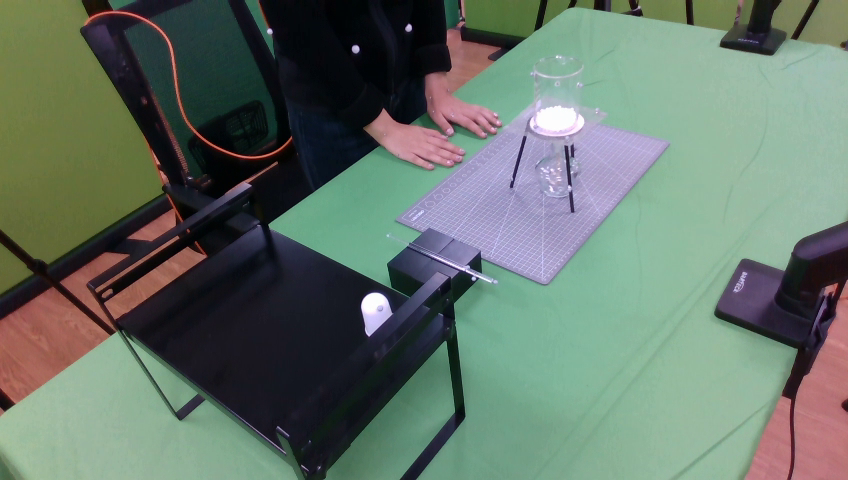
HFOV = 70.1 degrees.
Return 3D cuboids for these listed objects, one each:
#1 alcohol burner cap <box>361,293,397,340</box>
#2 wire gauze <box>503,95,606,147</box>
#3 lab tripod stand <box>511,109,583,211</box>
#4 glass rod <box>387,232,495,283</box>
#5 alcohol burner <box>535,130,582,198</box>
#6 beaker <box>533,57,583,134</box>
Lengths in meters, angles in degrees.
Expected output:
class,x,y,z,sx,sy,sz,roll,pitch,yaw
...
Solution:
class,x,y,z,sx,sy,sz,roll,pitch,yaw
alcohol burner cap,-0.046,0.073,0.601,0.034,0.048,0.033,-5,42,5
wire gauze,0.212,-0.191,0.976,0.120,0.011,0.125,24,52,33
lab tripod stand,0.220,-0.138,1.014,0.148,0.132,0.147,-3,41,3
glass rod,0.020,0.025,0.880,0.198,0.008,0.008,23,49,32
alcohol burner,0.227,-0.132,1.021,0.078,0.119,0.077,-6,40,5
beaker,0.208,-0.225,0.941,0.073,0.101,0.084,11,44,20
